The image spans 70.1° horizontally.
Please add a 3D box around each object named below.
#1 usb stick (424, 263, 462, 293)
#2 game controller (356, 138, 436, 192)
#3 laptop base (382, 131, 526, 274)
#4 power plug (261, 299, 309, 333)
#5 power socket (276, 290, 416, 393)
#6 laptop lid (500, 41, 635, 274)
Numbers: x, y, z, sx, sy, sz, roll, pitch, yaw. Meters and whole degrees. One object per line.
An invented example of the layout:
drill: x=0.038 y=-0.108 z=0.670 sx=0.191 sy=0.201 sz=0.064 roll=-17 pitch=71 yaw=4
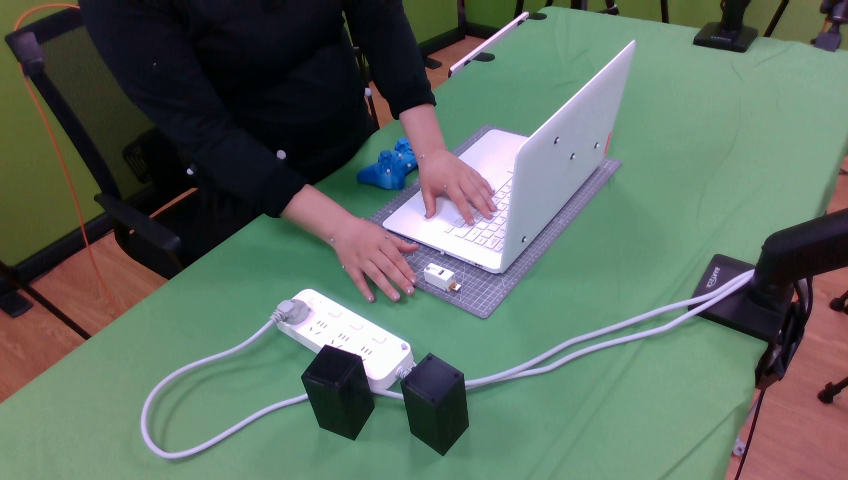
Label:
usb stick: x=0.029 y=0.058 z=0.887 sx=0.058 sy=0.027 sz=0.021 roll=25 pitch=50 yaw=31
game controller: x=-0.048 y=-0.149 z=1.135 sx=0.096 sy=0.052 sz=0.155 roll=26 pitch=51 yaw=29
laptop base: x=0.124 y=-0.080 z=1.049 sx=0.233 sy=0.023 sz=0.355 roll=20 pitch=47 yaw=33
power plug: x=-0.192 y=0.110 z=0.829 sx=0.073 sy=0.053 sz=0.035 roll=-36 pitch=48 yaw=-23
power socket: x=-0.113 y=0.133 z=0.820 sx=0.225 sy=0.033 sz=0.072 roll=24 pitch=48 yaw=32
laptop lid: x=0.218 y=-0.127 z=0.905 sx=0.013 sy=0.242 sz=0.358 roll=28 pitch=50 yaw=25
